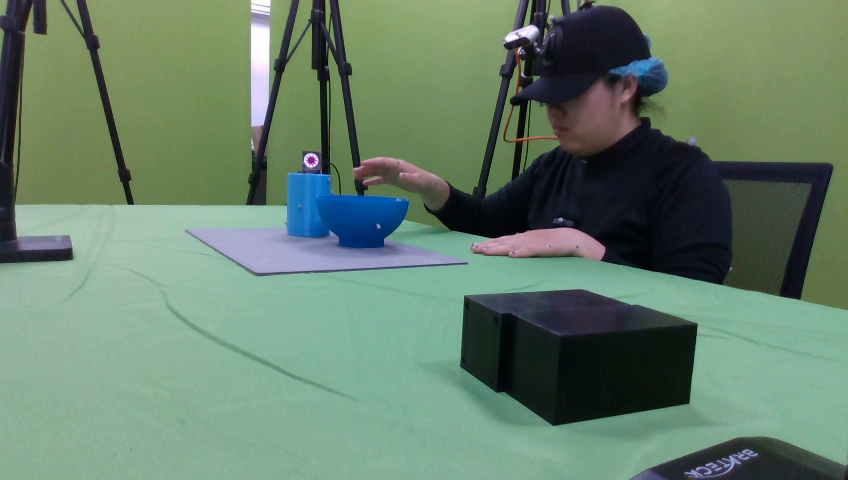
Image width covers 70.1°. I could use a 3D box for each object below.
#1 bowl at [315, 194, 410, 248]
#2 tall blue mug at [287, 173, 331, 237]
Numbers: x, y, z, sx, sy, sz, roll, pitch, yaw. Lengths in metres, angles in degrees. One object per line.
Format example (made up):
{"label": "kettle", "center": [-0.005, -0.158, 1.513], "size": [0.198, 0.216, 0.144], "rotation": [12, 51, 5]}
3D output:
{"label": "bowl", "center": [-0.100, -0.030, 0.971], "size": [0.151, 0.077, 0.151], "rotation": [2, 7, 0]}
{"label": "tall blue mug", "center": [-0.207, -0.066, 1.088], "size": [0.078, 0.108, 0.107], "rotation": [0, 8, -12]}
